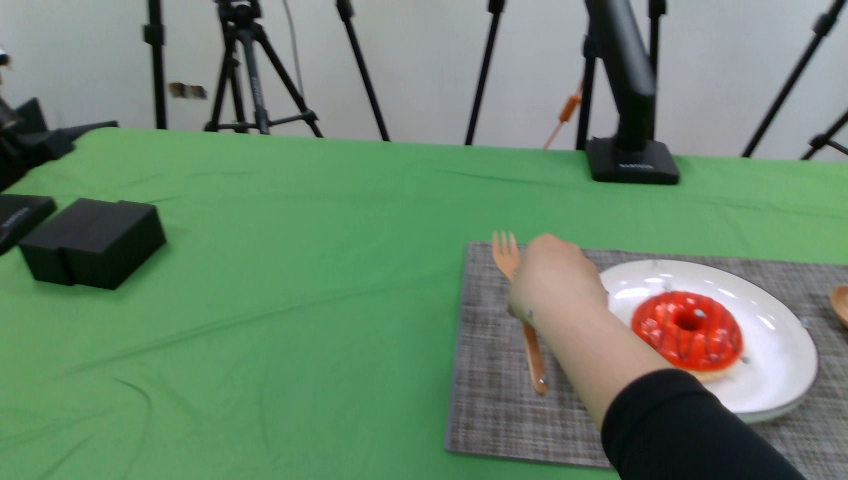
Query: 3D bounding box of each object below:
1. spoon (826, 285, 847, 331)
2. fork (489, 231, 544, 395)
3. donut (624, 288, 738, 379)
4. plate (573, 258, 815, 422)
[{"bbox_3d":[0.416,0.109,0.557,0.041,0.022,0.192,20,35,-3],"label":"spoon"},{"bbox_3d":[0.085,0.057,0.560,0.028,0.019,0.205,9,35,-11],"label":"fork"},{"bbox_3d":[0.235,0.085,0.558,0.099,0.048,0.098,-2,37,2],"label":"donut"},{"bbox_3d":[0.245,0.091,0.568,0.209,0.038,0.207,0,34,0],"label":"plate"}]
